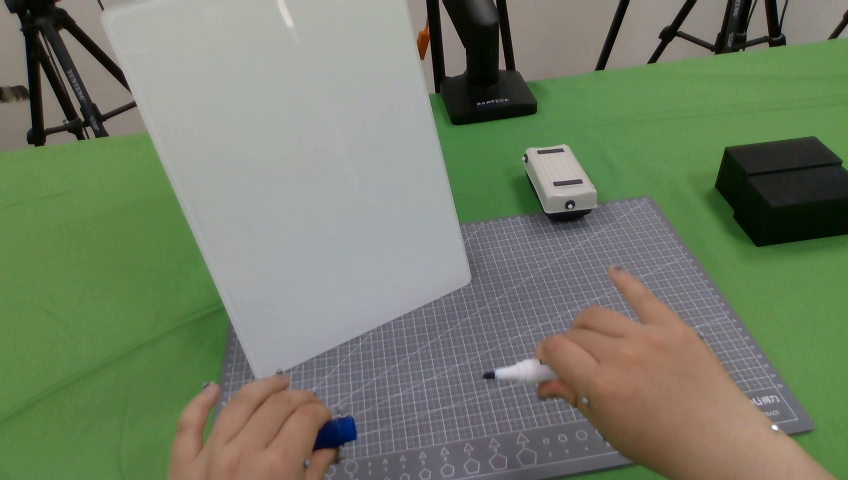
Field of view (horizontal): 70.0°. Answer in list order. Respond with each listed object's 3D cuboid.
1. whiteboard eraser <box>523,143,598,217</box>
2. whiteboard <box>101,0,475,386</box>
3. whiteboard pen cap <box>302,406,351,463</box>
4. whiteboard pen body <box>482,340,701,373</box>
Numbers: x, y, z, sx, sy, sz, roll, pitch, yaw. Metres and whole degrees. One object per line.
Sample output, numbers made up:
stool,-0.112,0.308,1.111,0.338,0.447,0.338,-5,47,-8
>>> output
whiteboard eraser,0.148,-0.066,0.668,0.055,0.042,0.111,-8,37,-1
whiteboard,-0.109,-0.071,0.543,0.217,0.307,0.142,-23,24,-19
whiteboard pen cap,-0.062,0.123,0.383,0.018,0.018,0.033,29,81,33
whiteboard pen body,0.108,0.076,0.395,0.141,0.017,0.017,-3,40,2
